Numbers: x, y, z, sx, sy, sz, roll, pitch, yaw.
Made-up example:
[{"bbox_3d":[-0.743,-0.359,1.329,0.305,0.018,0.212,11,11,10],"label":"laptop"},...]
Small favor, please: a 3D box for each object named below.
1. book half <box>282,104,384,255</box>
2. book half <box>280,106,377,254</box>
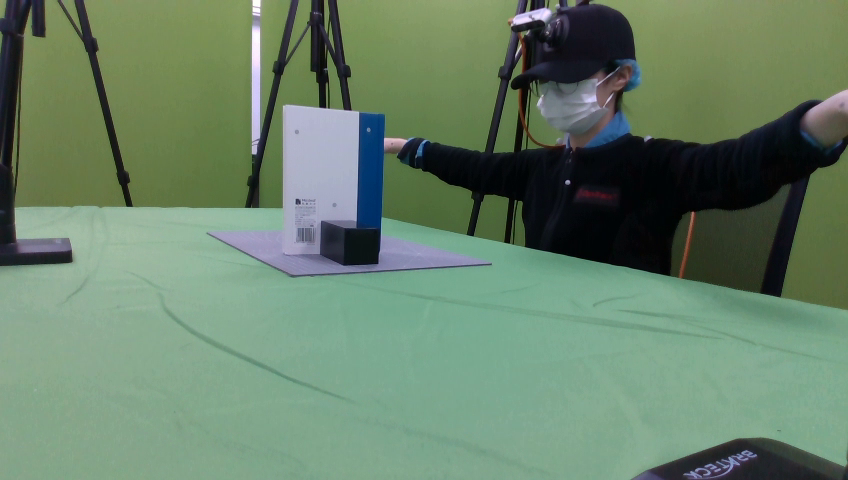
[{"bbox_3d":[-0.132,-0.084,0.881,0.149,0.210,0.016,-1,8,-27],"label":"book half"},{"bbox_3d":[-0.137,-0.084,0.886,0.144,0.210,0.007,-1,8,-26],"label":"book half"}]
